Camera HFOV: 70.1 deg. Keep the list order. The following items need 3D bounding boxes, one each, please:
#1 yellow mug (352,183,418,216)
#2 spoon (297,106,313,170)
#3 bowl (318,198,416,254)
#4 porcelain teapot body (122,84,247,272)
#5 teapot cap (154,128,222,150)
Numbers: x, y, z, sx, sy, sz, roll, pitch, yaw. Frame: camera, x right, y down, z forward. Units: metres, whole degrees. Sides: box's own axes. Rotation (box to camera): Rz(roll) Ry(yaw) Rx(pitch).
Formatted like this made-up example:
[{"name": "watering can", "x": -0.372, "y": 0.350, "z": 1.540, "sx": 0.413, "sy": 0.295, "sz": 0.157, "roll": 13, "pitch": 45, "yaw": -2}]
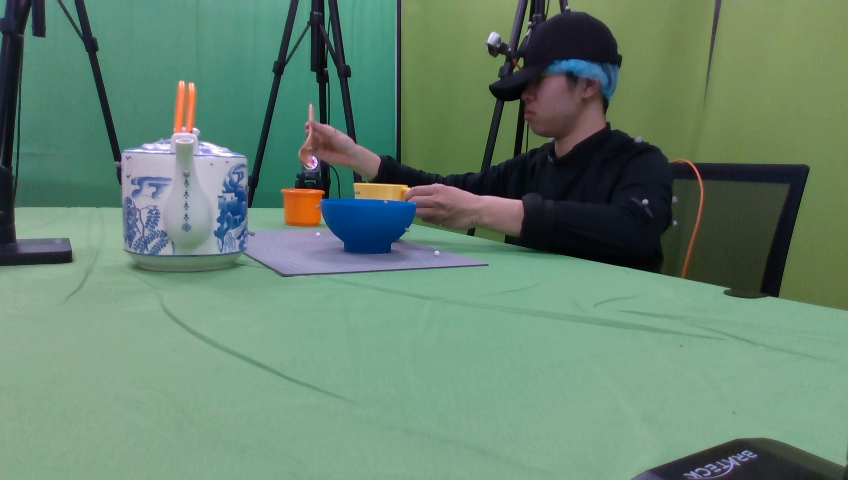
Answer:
[{"name": "yellow mug", "x": -0.068, "y": -0.068, "z": 1.094, "sx": 0.130, "sy": 0.064, "sz": 0.100, "roll": 6, "pitch": 7, "yaw": 28}, {"name": "spoon", "x": -0.254, "y": -0.226, "z": 1.321, "sx": 0.021, "sy": 0.193, "sz": 0.042, "roll": -23, "pitch": -41, "yaw": 29}, {"name": "bowl", "x": -0.089, "y": -0.022, "z": 0.941, "sx": 0.151, "sy": 0.077, "sz": 0.151, "roll": 2, "pitch": 7, "yaw": 0}, {"name": "porcelain teapot body", "x": -0.286, "y": -0.075, "z": 0.733, "sx": 0.146, "sy": 0.225, "sz": 0.204, "roll": 0, "pitch": 8, "yaw": -24}, {"name": "teapot cap", "x": -0.294, "y": -0.117, "z": 0.754, "sx": 0.085, "sy": 0.044, "sz": 0.085, "roll": 5, "pitch": 9, "yaw": 0}]
